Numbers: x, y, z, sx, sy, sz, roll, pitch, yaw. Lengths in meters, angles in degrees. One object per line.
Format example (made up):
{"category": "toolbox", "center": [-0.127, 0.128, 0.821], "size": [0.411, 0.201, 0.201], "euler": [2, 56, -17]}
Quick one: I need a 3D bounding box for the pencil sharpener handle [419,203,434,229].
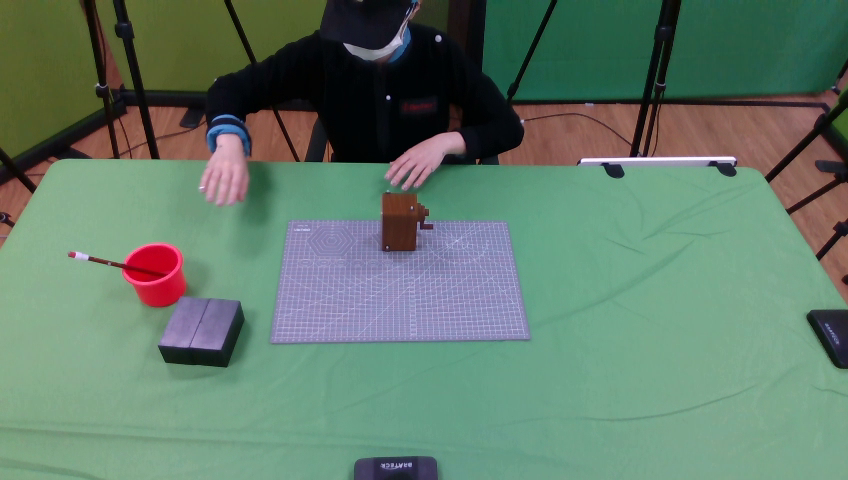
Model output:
{"category": "pencil sharpener handle", "center": [0.006, -0.045, 1.160], "size": [0.031, 0.068, 0.036], "euler": [0, 52, -4]}

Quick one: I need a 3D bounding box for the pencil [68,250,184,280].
{"category": "pencil", "center": [-0.498, 0.046, 1.026], "size": [0.195, 0.012, 0.012], "euler": [21, 29, -45]}

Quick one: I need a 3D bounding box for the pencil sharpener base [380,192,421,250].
{"category": "pencil sharpener base", "center": [-0.046, -0.035, 1.163], "size": [0.077, 0.107, 0.061], "euler": [0, 46, -4]}
